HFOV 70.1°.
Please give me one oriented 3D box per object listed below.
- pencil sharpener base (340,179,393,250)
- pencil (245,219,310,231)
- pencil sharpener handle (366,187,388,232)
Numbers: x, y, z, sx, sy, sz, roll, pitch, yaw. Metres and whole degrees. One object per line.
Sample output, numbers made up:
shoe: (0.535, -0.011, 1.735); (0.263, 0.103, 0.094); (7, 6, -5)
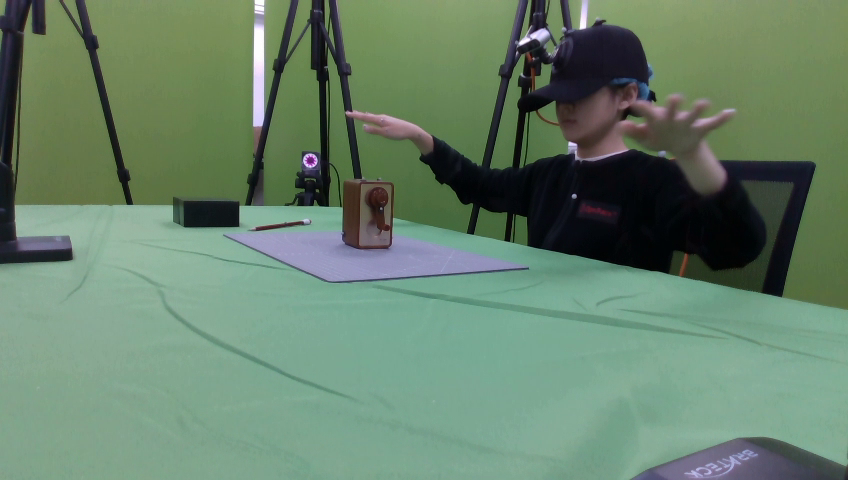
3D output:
pencil sharpener base: (-0.091, -0.041, 0.960); (0.061, 0.107, 0.076); (-1, 9, -28)
pencil: (-0.285, -0.029, 1.191); (0.012, 0.012, 0.195); (7, 9, 25)
pencil sharpener handle: (-0.065, -0.046, 0.915); (0.036, 0.067, 0.030); (-8, 12, -27)
